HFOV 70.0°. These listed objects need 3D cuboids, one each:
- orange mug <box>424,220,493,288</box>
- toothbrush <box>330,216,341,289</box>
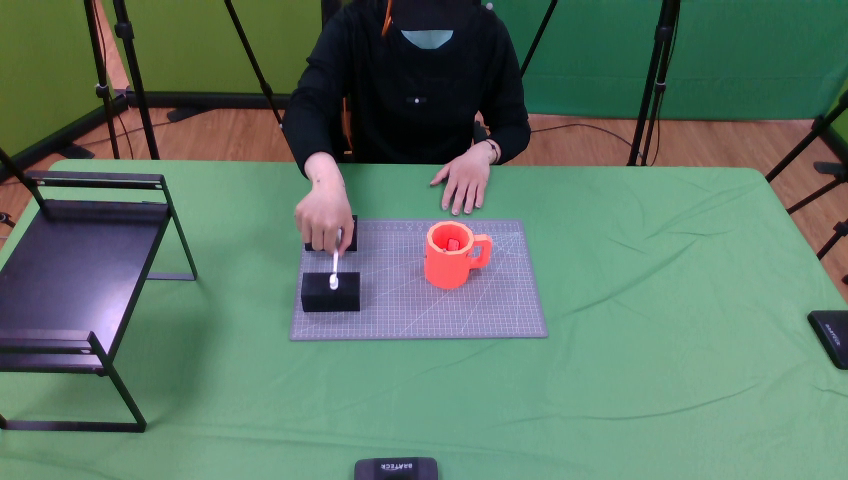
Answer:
[{"bbox_3d":[0.064,0.023,1.119,0.126,0.101,0.083,-9,47,-7],"label":"orange mug"},{"bbox_3d":[-0.159,0.017,1.091,0.014,0.017,0.180,-10,44,6],"label":"toothbrush"}]
